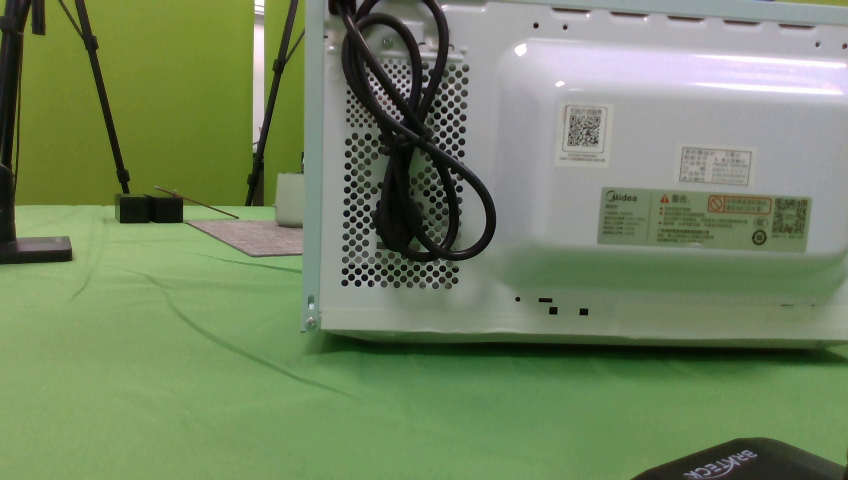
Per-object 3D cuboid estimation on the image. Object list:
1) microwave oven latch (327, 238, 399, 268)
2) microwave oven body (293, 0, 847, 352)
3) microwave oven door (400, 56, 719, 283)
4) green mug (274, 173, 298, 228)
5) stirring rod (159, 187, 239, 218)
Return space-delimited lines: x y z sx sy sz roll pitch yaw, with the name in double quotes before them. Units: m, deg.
"microwave oven latch" -0.069 0.015 0.694 0.079 0.029 0.030 3 7 -3
"microwave oven body" 0.122 -0.055 0.550 0.442 0.260 0.325 3 7 -5
"microwave oven door" 0.155 -0.077 0.697 0.356 0.243 0.039 2 8 -5
"green mug" -0.242 -0.081 1.221 0.092 0.105 0.126 8 9 39
"stirring rod" -0.472 -0.077 1.278 0.177 0.006 0.014 23 -8 -38
